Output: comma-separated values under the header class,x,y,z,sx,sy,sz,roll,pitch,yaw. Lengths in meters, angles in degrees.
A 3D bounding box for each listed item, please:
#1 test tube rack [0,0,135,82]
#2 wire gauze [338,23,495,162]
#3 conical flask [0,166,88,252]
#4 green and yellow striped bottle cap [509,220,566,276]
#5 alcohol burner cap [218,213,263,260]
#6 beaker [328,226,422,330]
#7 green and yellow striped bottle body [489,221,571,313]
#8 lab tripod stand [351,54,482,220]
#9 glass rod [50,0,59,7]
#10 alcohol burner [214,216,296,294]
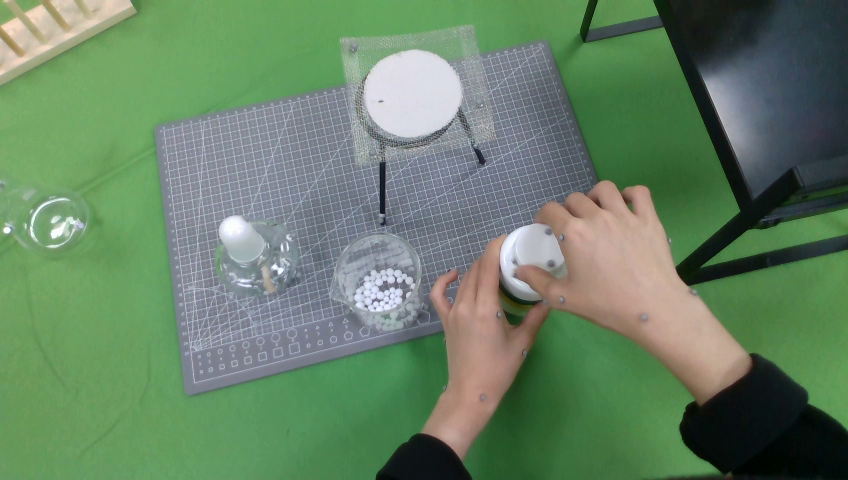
class,x,y,z,sx,sy,sz,roll,pitch,yaw
test tube rack,-0.463,-0.247,0.671,0.242,0.085,0.066,-33,74,-9
wire gauze,-0.008,-0.132,0.523,0.121,0.011,0.124,-8,72,-3
conical flask,-0.390,-0.040,0.582,0.075,0.122,0.075,0,71,2
green and yellow striped bottle cap,0.093,0.006,0.495,0.045,0.020,0.045,0,72,0
alcohol burner cap,-0.163,-0.006,0.529,0.034,0.048,0.033,0,64,0
beaker,-0.040,0.042,0.556,0.084,0.101,0.073,-25,72,-6
green and yellow striped bottle body,0.095,0.024,0.548,0.063,0.120,0.063,0,71,1
lab tripod stand,-0.012,-0.104,0.586,0.148,0.132,0.147,0,70,0
glass rod,-0.427,-0.312,0.622,0.008,0.201,0.008,1,68,-3
alcohol burner,-0.161,0.008,0.563,0.078,0.120,0.077,0,70,0
